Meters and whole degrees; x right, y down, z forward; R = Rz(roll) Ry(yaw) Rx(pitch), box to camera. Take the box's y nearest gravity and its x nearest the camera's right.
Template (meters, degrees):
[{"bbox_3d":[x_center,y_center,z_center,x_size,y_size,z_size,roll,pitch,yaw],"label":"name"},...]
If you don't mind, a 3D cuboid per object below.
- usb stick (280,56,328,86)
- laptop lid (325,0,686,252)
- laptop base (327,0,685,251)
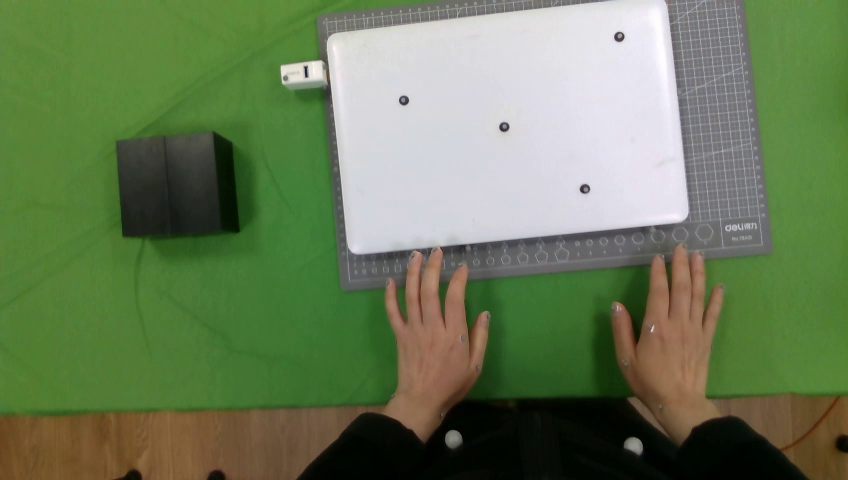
[{"bbox_3d":[-0.118,-0.177,0.634,0.059,0.027,0.021,-5,88,3],"label":"usb stick"},{"bbox_3d":[0.082,-0.119,0.623,0.357,0.013,0.241,-4,90,2],"label":"laptop lid"},{"bbox_3d":[0.082,-0.121,0.634,0.354,0.023,0.235,-6,91,2],"label":"laptop base"}]
